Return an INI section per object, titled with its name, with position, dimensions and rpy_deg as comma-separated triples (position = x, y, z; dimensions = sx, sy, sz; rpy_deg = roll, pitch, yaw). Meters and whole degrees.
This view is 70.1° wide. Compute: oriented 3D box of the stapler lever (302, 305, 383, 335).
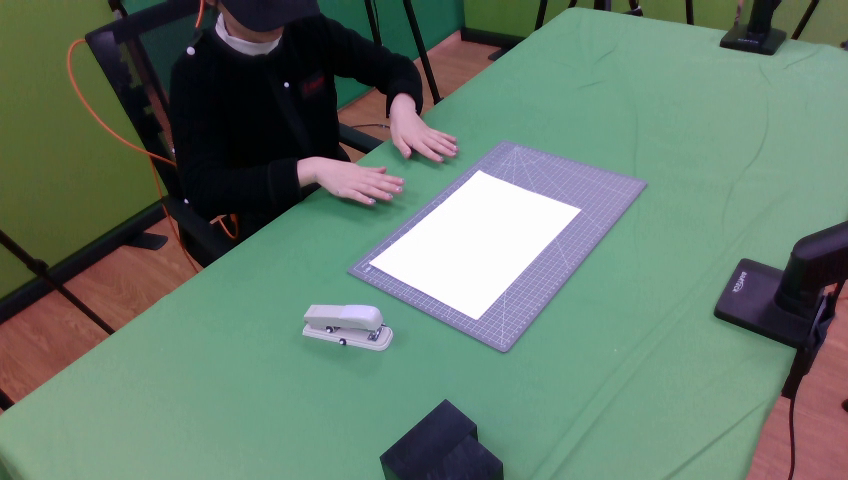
[stapler lever]
position = -0.113, 0.105, 0.829
dimensions = 0.117, 0.040, 0.027
rpy_deg = 8, 41, 18

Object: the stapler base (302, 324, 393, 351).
[stapler base]
position = -0.108, 0.123, 0.845
dimensions = 0.130, 0.024, 0.041
rpy_deg = 7, 40, 18
